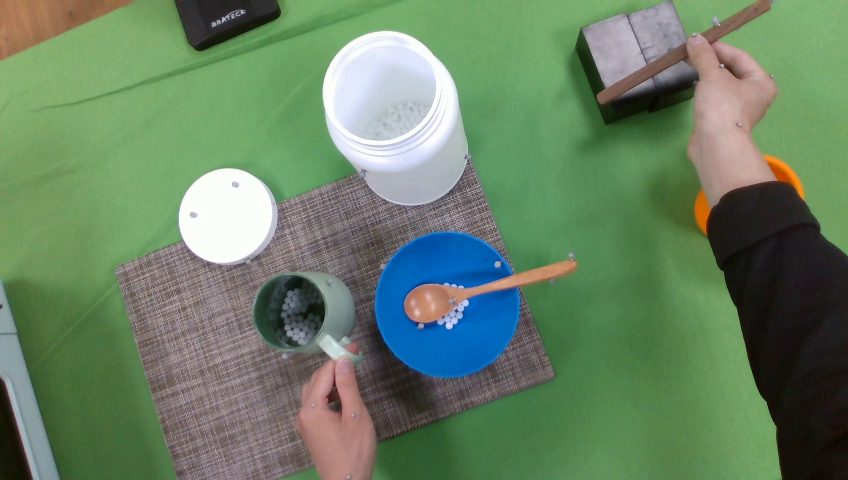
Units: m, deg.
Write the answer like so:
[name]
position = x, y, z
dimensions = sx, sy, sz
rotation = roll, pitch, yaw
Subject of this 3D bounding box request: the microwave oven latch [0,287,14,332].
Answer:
[microwave oven latch]
position = -0.516, 0.074, 0.716
dimensions = 0.030, 0.029, 0.079
rotation = -22, 83, 3

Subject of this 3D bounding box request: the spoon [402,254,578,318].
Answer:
[spoon]
position = 0.063, 0.046, 0.622
dimensions = 0.193, 0.022, 0.041
rotation = -17, 84, 28

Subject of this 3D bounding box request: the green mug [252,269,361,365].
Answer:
[green mug]
position = -0.117, 0.086, 0.653
dimensions = 0.125, 0.105, 0.092
rotation = 42, 89, 8

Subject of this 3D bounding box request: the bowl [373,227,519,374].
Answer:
[bowl]
position = 0.026, 0.065, 0.653
dimensions = 0.151, 0.077, 0.151
rotation = -1, 84, 7

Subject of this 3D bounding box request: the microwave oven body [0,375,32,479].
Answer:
[microwave oven body]
position = -0.599, 0.281, 0.606
dimensions = 0.326, 0.261, 0.440
rotation = -22, 83, 3

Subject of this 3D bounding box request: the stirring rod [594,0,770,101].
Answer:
[stirring rod]
position = 0.251, -0.189, 0.600
dimensions = 0.176, 0.006, 0.014
rotation = -28, 70, 24

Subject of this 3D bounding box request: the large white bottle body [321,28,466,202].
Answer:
[large white bottle body]
position = -0.027, -0.122, 0.623
dimensions = 0.130, 0.185, 0.130
rotation = -1, 80, 7

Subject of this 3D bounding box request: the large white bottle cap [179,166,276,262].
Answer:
[large white bottle cap]
position = -0.234, -0.031, 0.721
dimensions = 0.115, 0.018, 0.114
rotation = -1, 83, 6

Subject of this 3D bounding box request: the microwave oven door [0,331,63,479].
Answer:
[microwave oven door]
position = -0.449, 0.263, 0.587
dimensions = 0.039, 0.244, 0.354
rotation = -23, 82, 4
